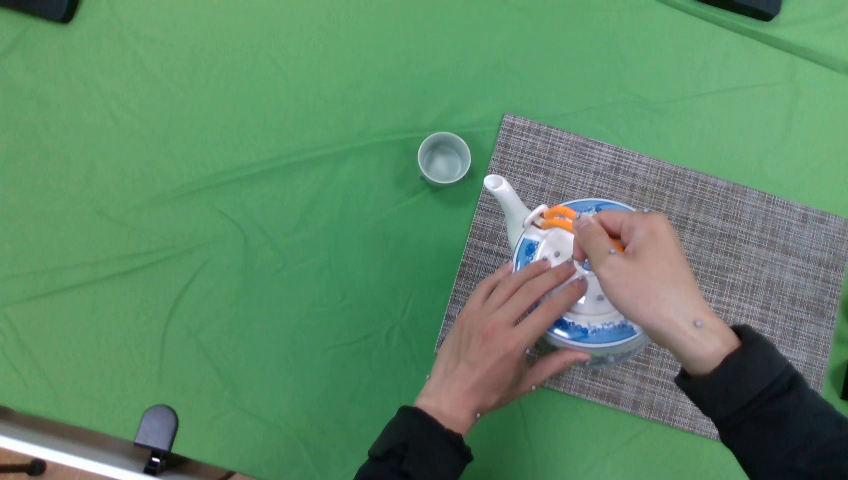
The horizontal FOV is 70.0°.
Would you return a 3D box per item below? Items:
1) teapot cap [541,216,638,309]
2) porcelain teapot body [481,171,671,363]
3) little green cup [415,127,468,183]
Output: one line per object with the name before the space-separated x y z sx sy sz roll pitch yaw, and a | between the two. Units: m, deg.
teapot cap | 0.145 0.018 0.534 0.085 0.044 0.084 -4 70 11
porcelain teapot body | 0.134 0.014 0.582 0.204 0.227 0.145 41 86 23
little green cup | 0.019 -0.096 0.706 0.061 0.039 0.061 1 81 -3
